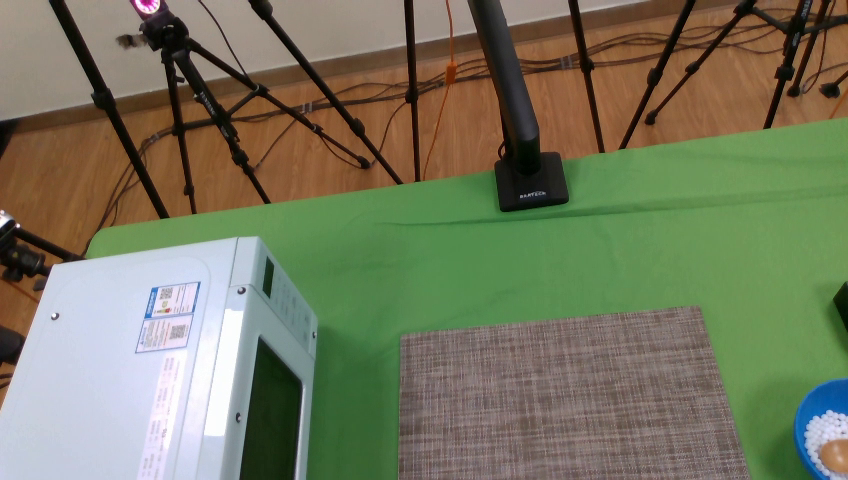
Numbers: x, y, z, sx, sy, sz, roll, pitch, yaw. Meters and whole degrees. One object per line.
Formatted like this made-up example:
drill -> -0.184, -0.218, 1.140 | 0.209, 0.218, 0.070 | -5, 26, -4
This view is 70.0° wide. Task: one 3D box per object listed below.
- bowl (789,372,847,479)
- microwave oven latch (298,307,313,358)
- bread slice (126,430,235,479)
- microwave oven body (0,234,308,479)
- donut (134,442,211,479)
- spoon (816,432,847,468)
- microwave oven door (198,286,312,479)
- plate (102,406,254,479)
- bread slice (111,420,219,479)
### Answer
bowl -> 0.510, 0.241, 0.720 | 0.151, 0.077, 0.150 | -6, 55, 9
microwave oven latch -> -0.191, 0.146, 0.950 | 0.030, 0.030, 0.078 | -8, 55, 7
bread slice -> -0.328, 0.316, 0.796 | 0.133, 0.018, 0.107 | 26, 57, 31
microwave oven body -> -0.346, 0.258, 0.789 | 0.326, 0.263, 0.437 | -8, 55, 7
donut -> -0.323, 0.309, 0.776 | 0.099, 0.049, 0.098 | -3, 54, 4
spoon -> 0.552, 0.222, 0.685 | 0.193, 0.022, 0.041 | -23, 46, 24
microwave oven door -> -0.202, 0.267, 0.743 | 0.039, 0.246, 0.352 | -9, 55, 7
plate -> -0.321, 0.326, 0.799 | 0.207, 0.039, 0.205 | -4, 55, 7
bread slice -> -0.334, 0.293, 0.757 | 0.130, 0.019, 0.105 | 37, 73, 28
